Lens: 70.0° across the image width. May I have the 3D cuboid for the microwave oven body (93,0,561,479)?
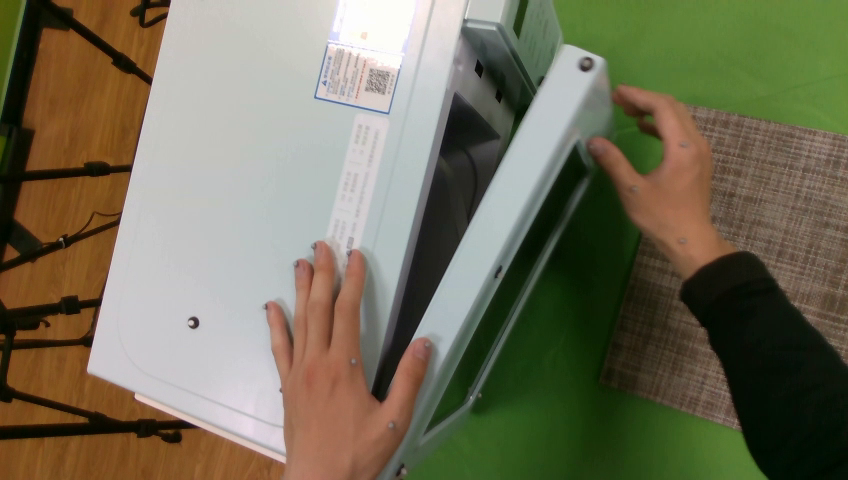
[{"bbox_3d":[-0.084,-0.048,0.606,0.324,0.261,0.441,15,93,19],"label":"microwave oven body"}]

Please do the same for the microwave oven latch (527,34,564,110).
[{"bbox_3d":[0.127,-0.179,0.641,0.030,0.029,0.079,15,93,19],"label":"microwave oven latch"}]

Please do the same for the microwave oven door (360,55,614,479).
[{"bbox_3d":[0.070,0.039,0.544,0.039,0.245,0.356,27,96,19],"label":"microwave oven door"}]
